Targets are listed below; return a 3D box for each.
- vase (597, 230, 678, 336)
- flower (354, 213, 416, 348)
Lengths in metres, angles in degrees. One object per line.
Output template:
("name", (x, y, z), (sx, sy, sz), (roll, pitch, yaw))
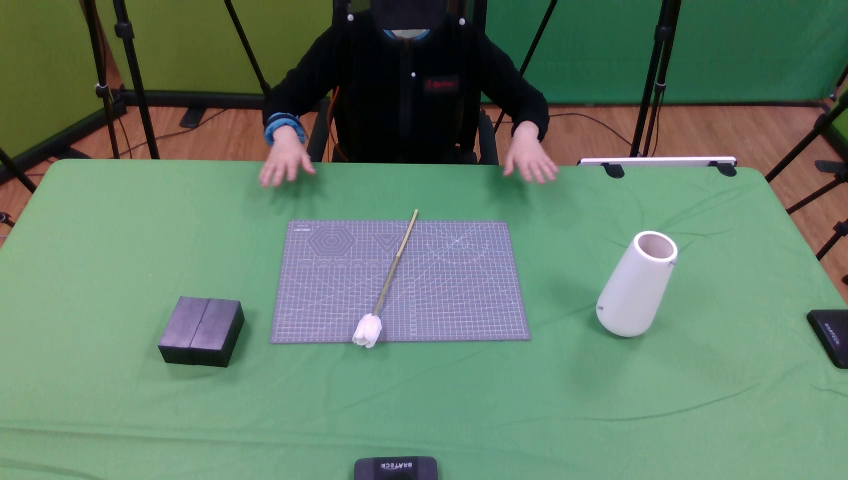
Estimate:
("vase", (0.360, 0.077, 1.026), (0.098, 0.201, 0.097), (1, 47, -1))
("flower", (-0.060, 0.058, 1.139), (0.044, 0.038, 0.360), (-20, 31, 30))
